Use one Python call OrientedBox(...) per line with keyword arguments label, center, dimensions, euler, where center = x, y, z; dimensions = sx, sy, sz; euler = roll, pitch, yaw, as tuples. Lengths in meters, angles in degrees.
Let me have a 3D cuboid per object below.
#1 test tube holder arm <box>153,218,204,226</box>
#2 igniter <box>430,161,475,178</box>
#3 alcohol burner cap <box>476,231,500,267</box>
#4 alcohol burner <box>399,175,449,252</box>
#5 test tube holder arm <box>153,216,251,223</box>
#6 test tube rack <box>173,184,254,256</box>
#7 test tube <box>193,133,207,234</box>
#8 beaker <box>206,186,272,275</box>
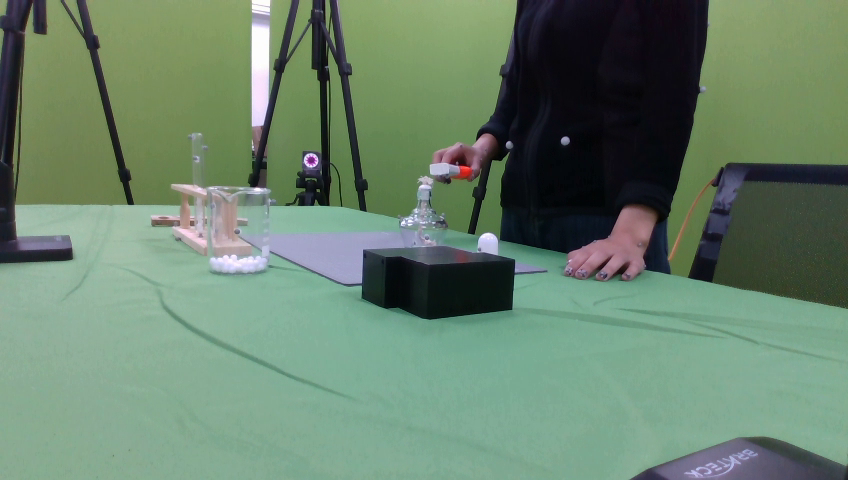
OrientedBox(label="test tube holder arm", center=(-0.459, -0.034, 1.132), dimensions=(0.088, 0.015, 0.010), euler=(-1, 43, -29))
OrientedBox(label="igniter", center=(0.054, -0.126, 1.082), dimensions=(0.057, 0.025, 0.277), euler=(-3, 4, 13))
OrientedBox(label="alcohol burner cap", center=(0.088, 0.012, 0.830), dimensions=(0.034, 0.048, 0.034), euler=(3, 7, 0))
OrientedBox(label="alcohol burner", center=(0.000, -0.041, 0.937), dimensions=(0.078, 0.119, 0.078), euler=(0, 7, 0))
OrientedBox(label="test tube holder arm", center=(-0.422, -0.039, 1.159), dimensions=(0.179, 0.015, 0.013), euler=(-2, 43, -31))
OrientedBox(label="test tube rack", center=(-0.328, -0.036, 0.927), dimensions=(0.067, 0.085, 0.241), euler=(-2, 9, -32))
OrientedBox(label="test tube", center=(-0.335, -0.084, 0.904), dimensions=(0.017, 0.150, 0.017), euler=(-1, 2, 0))
OrientedBox(label="beaker", center=(-0.220, -0.012, 0.717), dimensions=(0.074, 0.100, 0.084), euler=(2, 8, -3))
